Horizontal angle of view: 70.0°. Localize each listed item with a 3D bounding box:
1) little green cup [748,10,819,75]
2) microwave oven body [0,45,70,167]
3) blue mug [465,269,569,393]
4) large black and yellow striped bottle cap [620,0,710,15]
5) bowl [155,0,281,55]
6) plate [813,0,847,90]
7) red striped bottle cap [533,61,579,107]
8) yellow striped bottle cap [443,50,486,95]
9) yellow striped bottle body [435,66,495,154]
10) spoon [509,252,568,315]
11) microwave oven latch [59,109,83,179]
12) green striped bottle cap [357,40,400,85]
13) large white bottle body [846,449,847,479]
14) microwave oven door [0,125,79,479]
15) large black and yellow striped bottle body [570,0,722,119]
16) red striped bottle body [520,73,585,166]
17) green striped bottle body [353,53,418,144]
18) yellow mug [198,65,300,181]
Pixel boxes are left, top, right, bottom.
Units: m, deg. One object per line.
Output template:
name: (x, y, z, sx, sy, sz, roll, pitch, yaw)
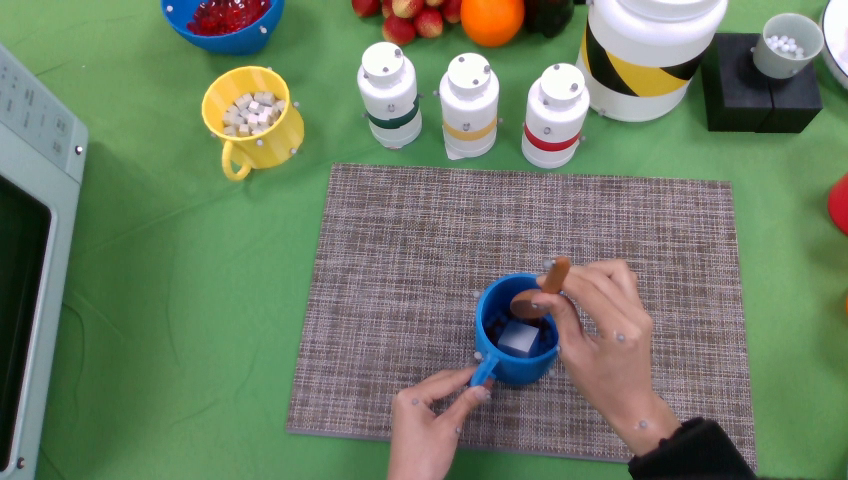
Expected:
little green cup: (0.383, -0.210, 0.650, 0.061, 0.039, 0.061, 0, 66, 1)
microwave oven body: (-0.560, 0.031, 0.554, 0.326, 0.262, 0.438, -6, 69, 2)
blue mug: (0.077, 0.095, 0.566, 0.082, 0.106, 0.116, 37, 75, 17)
large black and yellow striped bottle cap: (0.226, -0.262, 0.568, 0.115, 0.019, 0.114, -2, 67, 4)
bowl: (-0.245, -0.288, 0.760, 0.151, 0.077, 0.150, -1, 68, 3)
plate: (0.555, -0.230, 0.701, 0.209, 0.038, 0.207, -1, 69, 4)
red striped bottle cap: (0.131, -0.155, 0.601, 0.044, 0.018, 0.044, 0, 67, 0)
yellow striped bottle cap: (0.041, -0.170, 0.614, 0.044, 0.019, 0.044, -1, 70, 3)
yellow striped bottle body: (0.045, -0.150, 0.661, 0.063, 0.121, 0.062, -2, 67, 5)
spoon: (0.094, 0.039, 0.477, 0.041, 0.194, 0.021, -1, 77, 3)
microwave oven latch: (-0.419, -0.111, 0.704, 0.030, 0.030, 0.078, -4, 69, 2)
green striped bottle cap: (-0.047, -0.184, 0.625, 0.044, 0.020, 0.044, -1, 68, 2)
large white bottle body: (0.440, 0.186, 0.465, 0.130, 0.186, 0.129, -1, 67, 4)
microwave oven door: (-0.412, 0.054, 0.529, 0.039, 0.245, 0.353, -6, 68, 3)
large black and yellow striped bottle body: (0.233, -0.231, 0.646, 0.131, 0.185, 0.130, -1, 68, 4)
red striped bottle body: (0.137, -0.135, 0.649, 0.063, 0.120, 0.062, -2, 66, 6)
green striped bottle body: (-0.042, -0.164, 0.674, 0.063, 0.120, 0.062, -1, 68, 4)
yellow mug: (-0.206, -0.130, 0.701, 0.100, 0.064, 0.130, 13, 70, 8)
